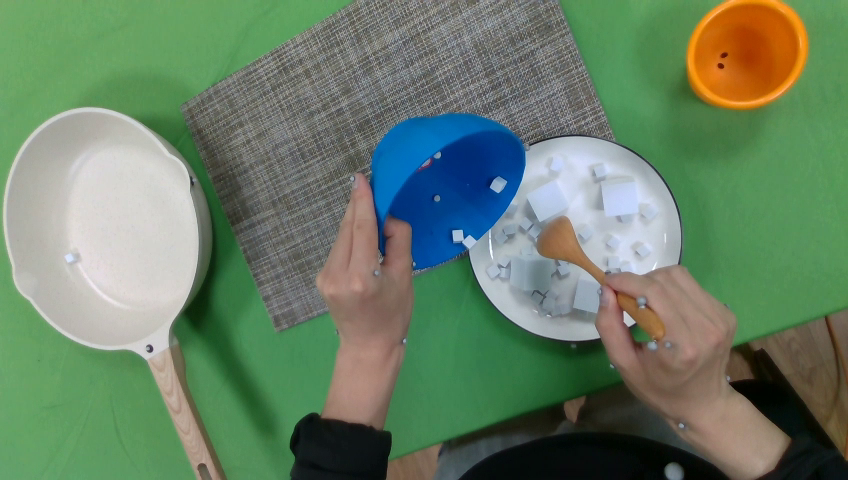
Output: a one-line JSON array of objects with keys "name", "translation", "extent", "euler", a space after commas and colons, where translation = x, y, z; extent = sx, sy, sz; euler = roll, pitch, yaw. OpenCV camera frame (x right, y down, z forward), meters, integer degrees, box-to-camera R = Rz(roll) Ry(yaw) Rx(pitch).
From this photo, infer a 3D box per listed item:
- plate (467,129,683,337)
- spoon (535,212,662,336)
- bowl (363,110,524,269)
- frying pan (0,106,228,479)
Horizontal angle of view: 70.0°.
[{"name": "plate", "translation": [0.148, -0.007, 0.611], "extent": [0.207, 0.039, 0.208], "euler": [3, 100, 16]}, {"name": "spoon", "translation": [0.130, 0.021, 0.468], "extent": [0.022, 0.192, 0.041], "euler": [29, 102, -25]}, {"name": "bowl", "translation": [0.003, -0.056, 0.519], "extent": [0.151, 0.152, 0.076], "euler": [-50, 59, 17]}, {"name": "frying pan", "translation": [-0.346, 0.077, 0.738], "extent": [0.306, 0.103, 0.486], "euler": [-28, 81, 19]}]
